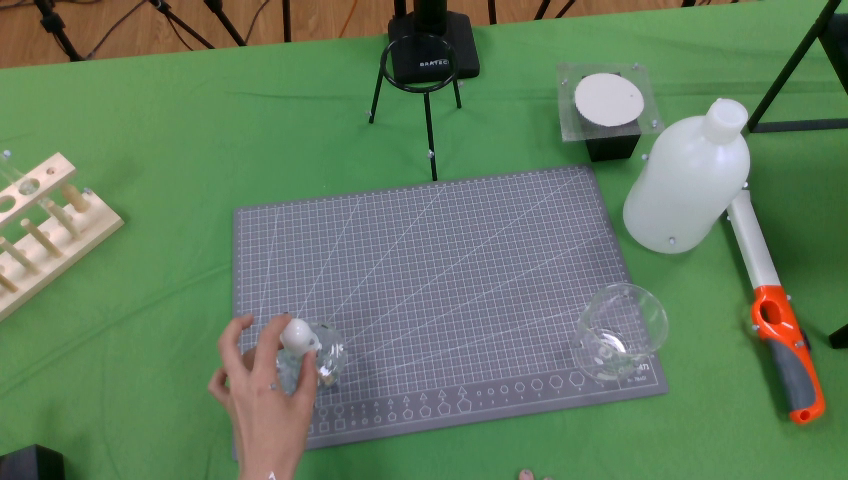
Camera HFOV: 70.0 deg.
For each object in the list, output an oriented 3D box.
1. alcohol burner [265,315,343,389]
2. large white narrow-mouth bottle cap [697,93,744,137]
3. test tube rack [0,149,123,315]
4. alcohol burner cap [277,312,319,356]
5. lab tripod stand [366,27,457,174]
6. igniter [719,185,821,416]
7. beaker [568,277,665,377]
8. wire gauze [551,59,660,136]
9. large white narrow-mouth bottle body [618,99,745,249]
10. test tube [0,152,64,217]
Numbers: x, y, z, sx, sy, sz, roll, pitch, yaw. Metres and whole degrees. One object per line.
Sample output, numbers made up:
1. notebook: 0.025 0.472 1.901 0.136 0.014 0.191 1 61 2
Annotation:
1. alcohol burner: -0.120 0.104 0.596 0.078 0.120 0.077 1 60 -1
2. large white narrow-mouth bottle cap: 0.280 -0.119 0.575 0.038 0.024 0.037 0 61 0
3. test tube rack: -0.467 0.016 0.661 0.066 0.086 0.242 38 68 18
4. alcohol burner cap: -0.119 0.086 0.564 0.034 0.048 0.033 -2 62 5
5. lab tripod stand: -0.006 -0.175 0.738 0.148 0.132 0.147 1 62 -1
6. igniter: 0.378 0.057 0.674 0.057 0.025 0.274 2 61 -10
7. beaker: 0.186 0.092 0.611 0.084 0.101 0.073 -2 61 0
8. wire gauze: 0.223 -0.182 0.758 0.121 0.011 0.124 -1 61 0
9. large white narrow-mouth bottle body: 0.281 -0.076 0.650 0.102 0.196 0.101 0 61 1
10. test tube: -0.436 -0.067 0.649 0.017 0.151 0.017 -2 61 4
